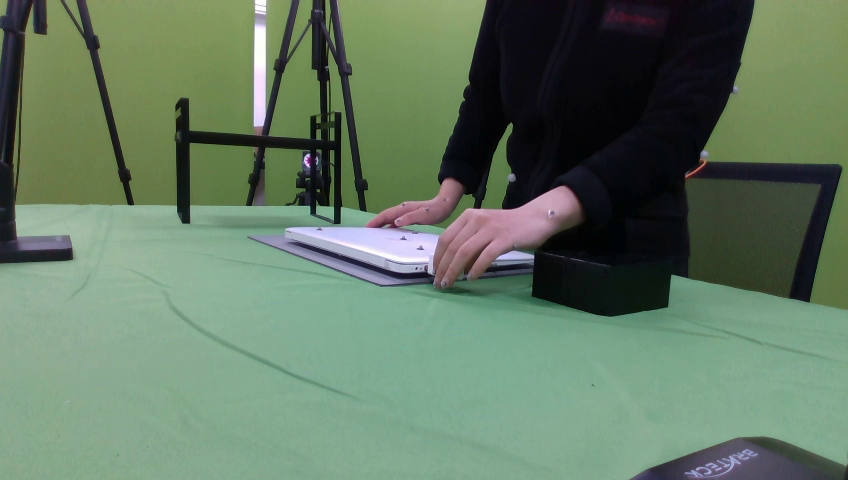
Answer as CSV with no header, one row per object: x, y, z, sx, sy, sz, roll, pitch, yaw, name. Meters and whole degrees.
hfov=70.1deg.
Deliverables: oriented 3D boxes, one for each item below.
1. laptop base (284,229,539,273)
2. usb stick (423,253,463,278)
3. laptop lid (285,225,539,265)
-0.035,0.013,0.898,0.237,0.023,0.352,1,7,-36,laptop base
0.019,0.029,0.689,0.021,0.027,0.059,8,-7,-31,usb stick
-0.032,0.002,0.898,0.243,0.013,0.355,0,8,-34,laptop lid
